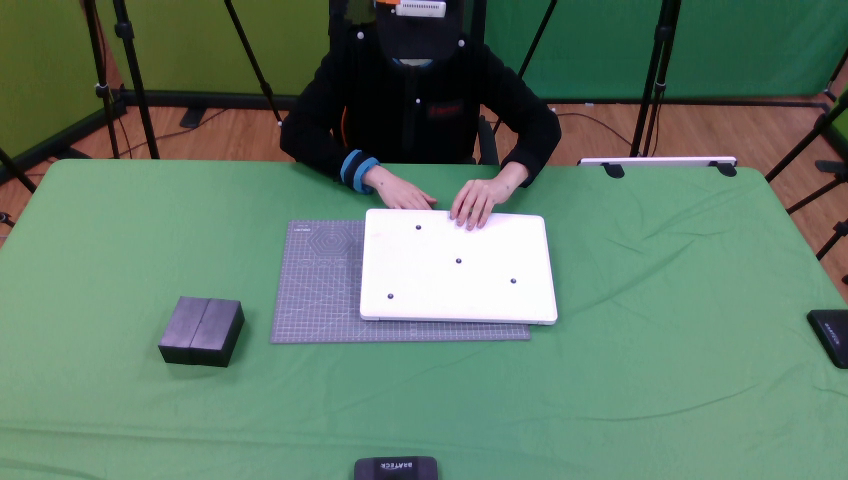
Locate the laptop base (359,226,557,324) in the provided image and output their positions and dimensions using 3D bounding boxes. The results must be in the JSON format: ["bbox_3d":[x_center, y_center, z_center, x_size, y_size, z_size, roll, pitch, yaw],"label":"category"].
[{"bbox_3d":[0.061,0.063,1.144,0.354,0.023,0.234,2,43,-3],"label":"laptop base"}]

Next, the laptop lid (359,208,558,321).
[{"bbox_3d":[0.063,0.039,1.119,0.357,0.013,0.240,3,57,-3],"label":"laptop lid"}]
